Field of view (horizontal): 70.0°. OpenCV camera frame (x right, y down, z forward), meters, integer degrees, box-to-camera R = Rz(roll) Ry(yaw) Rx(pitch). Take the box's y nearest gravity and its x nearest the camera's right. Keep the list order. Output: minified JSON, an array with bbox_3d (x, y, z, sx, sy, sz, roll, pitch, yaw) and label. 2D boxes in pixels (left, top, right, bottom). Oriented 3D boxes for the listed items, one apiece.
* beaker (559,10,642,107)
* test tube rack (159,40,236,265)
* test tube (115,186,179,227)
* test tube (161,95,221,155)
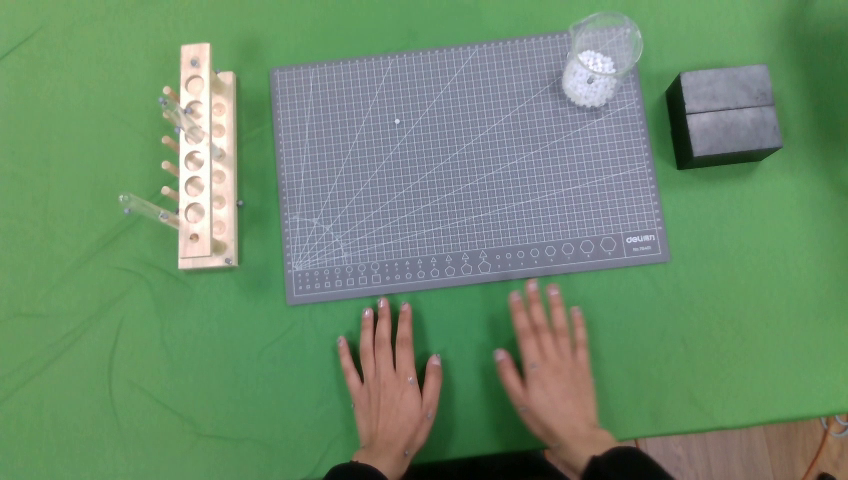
[{"bbox_3d":[0.194,-0.203,0.693,0.084,0.100,0.074,31,82,9],"label":"beaker"},{"bbox_3d":[-0.265,-0.097,0.702,0.067,0.085,0.241,-4,81,2],"label":"test tube rack"},{"bbox_3d":[-0.282,-0.032,0.647,0.017,0.151,0.017,-1,79,4],"label":"test tube"},{"bbox_3d":[-0.248,-0.120,0.655,0.017,0.150,0.017,0,80,-2],"label":"test tube"}]
